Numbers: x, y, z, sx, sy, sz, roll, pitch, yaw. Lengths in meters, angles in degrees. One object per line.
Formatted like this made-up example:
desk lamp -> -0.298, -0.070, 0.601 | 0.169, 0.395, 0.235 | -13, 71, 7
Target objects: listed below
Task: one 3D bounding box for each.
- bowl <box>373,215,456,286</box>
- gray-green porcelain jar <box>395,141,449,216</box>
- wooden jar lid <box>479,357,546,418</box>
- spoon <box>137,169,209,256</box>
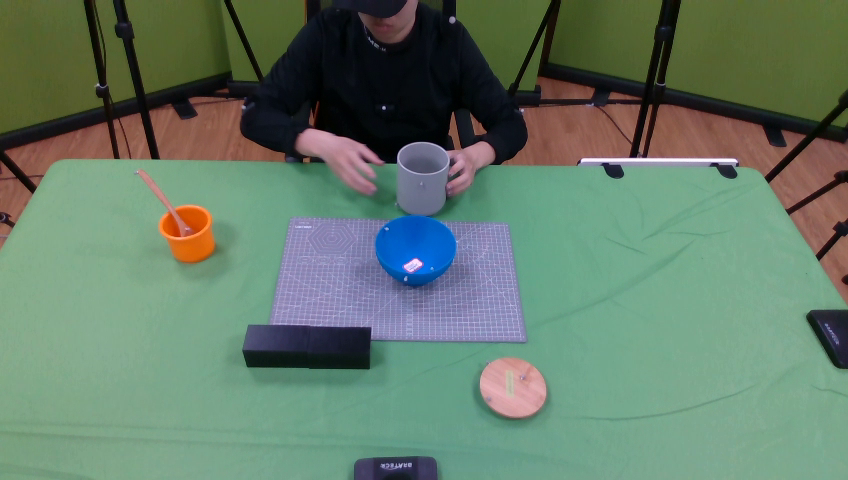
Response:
bowl -> -0.019, 0.032, 1.122 | 0.151, 0.077, 0.150 | 2, 46, -2
gray-green porcelain jar -> -0.007, -0.120, 1.241 | 0.106, 0.127, 0.105 | 2, 46, -2
wooden jar lid -> 0.142, 0.240, 0.979 | 0.108, 0.021, 0.107 | 1, 46, -1
spoon -> -0.465, -0.051, 1.123 | 0.041, 0.194, 0.021 | -40, 16, -32
